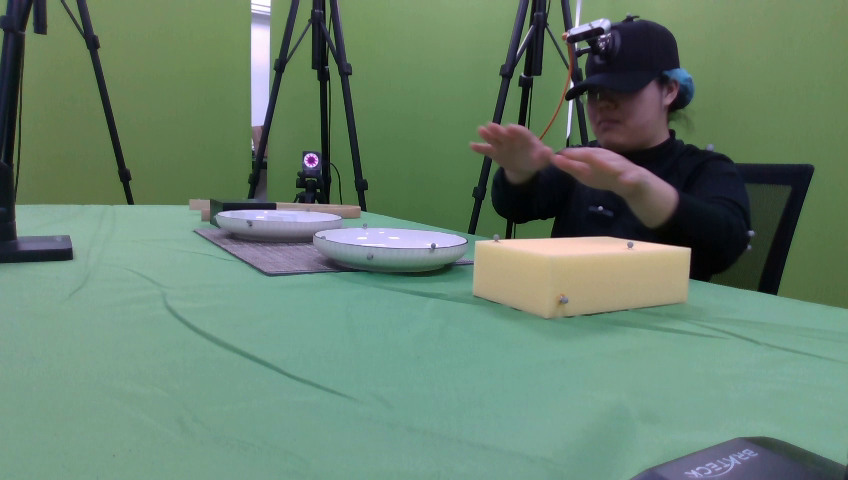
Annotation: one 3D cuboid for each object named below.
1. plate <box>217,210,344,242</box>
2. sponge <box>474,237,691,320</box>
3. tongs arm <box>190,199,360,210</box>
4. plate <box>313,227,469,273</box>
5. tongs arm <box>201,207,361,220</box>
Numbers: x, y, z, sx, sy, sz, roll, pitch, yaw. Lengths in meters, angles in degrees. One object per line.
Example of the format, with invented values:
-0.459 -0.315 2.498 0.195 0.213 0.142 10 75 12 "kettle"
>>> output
-0.241 -0.024 1.026 0.208 0.039 0.207 3 7 0 "plate"
0.169 0.034 0.644 0.208 0.061 0.117 -2 7 -33 "sponge"
-0.341 -0.075 1.419 0.387 0.026 0.050 0 8 -25 "tongs arm"
-0.044 0.012 0.808 0.209 0.038 0.209 2 7 0 "plate"
-0.302 -0.060 1.350 0.390 0.028 0.028 -3 7 -38 "tongs arm"
